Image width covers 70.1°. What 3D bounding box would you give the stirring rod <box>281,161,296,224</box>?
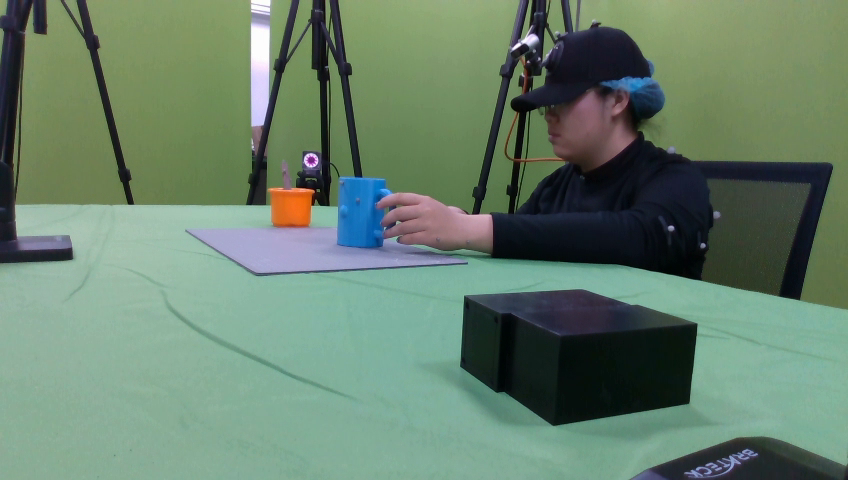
[{"bbox_3d":[-0.278,-0.099,1.238,0.014,0.006,0.175,3,49,-25],"label":"stirring rod"}]

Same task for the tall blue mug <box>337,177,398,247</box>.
[{"bbox_3d":[-0.086,-0.045,0.971,0.107,0.108,0.078,4,6,13],"label":"tall blue mug"}]
